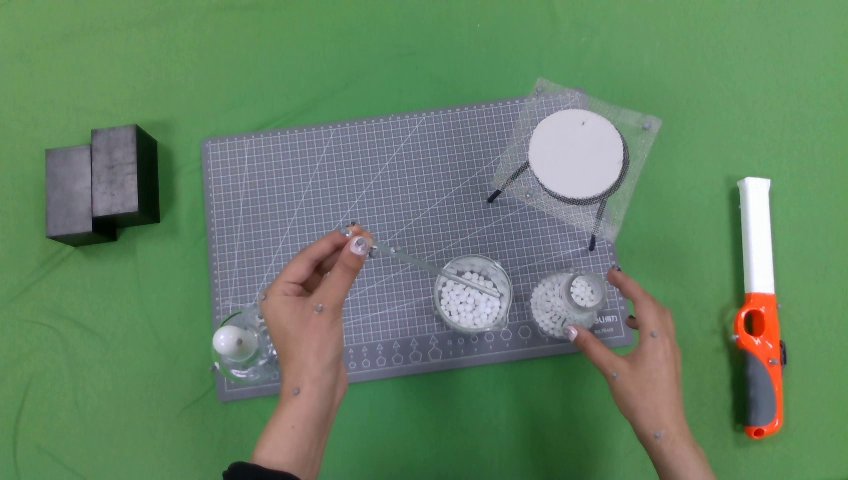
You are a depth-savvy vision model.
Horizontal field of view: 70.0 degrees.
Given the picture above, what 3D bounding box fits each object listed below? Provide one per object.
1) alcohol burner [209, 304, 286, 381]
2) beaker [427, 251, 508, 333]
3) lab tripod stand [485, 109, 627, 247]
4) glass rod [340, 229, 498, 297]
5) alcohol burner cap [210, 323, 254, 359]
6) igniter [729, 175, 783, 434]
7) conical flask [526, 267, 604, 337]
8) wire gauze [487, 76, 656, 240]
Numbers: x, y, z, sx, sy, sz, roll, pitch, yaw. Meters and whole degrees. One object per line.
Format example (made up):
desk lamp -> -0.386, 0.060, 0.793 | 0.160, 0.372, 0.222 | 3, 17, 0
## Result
alcohol burner -> -0.181, 0.102, 0.604 | 0.078, 0.119, 0.077 | 0, 80, 2
beaker -> 0.046, 0.059, 0.615 | 0.074, 0.100, 0.083 | -43, 81, -6
lab tripod stand -> 0.140, -0.064, 0.620 | 0.148, 0.132, 0.148 | 0, 80, 3
glass rod -> 0.005, 0.024, 0.531 | 0.008, 0.202, 0.008 | -20, 58, 38
alcohol burner cap -> -0.182, 0.093, 0.569 | 0.034, 0.048, 0.033 | 0, 72, 0
igniter -> 0.353, 0.065, 0.648 | 0.057, 0.025, 0.275 | 5, 79, -8
conical flask -> 0.146, 0.056, 0.602 | 0.075, 0.122, 0.075 | 0, 78, 2
wire gauze -> 0.135, -0.079, 0.555 | 0.125, 0.011, 0.121 | 24, 82, 6
